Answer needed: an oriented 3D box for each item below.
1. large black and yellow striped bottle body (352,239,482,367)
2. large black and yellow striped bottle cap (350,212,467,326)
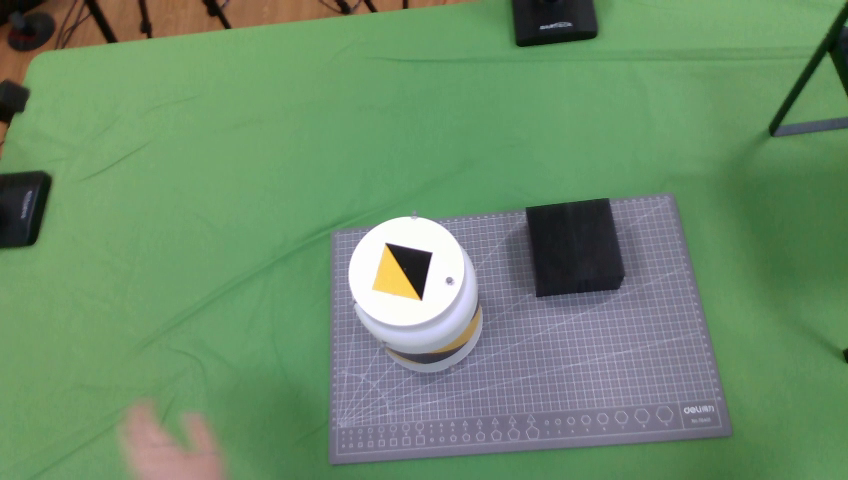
[{"bbox_3d":[-0.005,0.059,0.667,0.130,0.185,0.130,-3,67,7],"label":"large black and yellow striped bottle body"},{"bbox_3d":[-0.016,0.027,0.590,0.115,0.019,0.114,-3,67,8],"label":"large black and yellow striped bottle cap"}]
